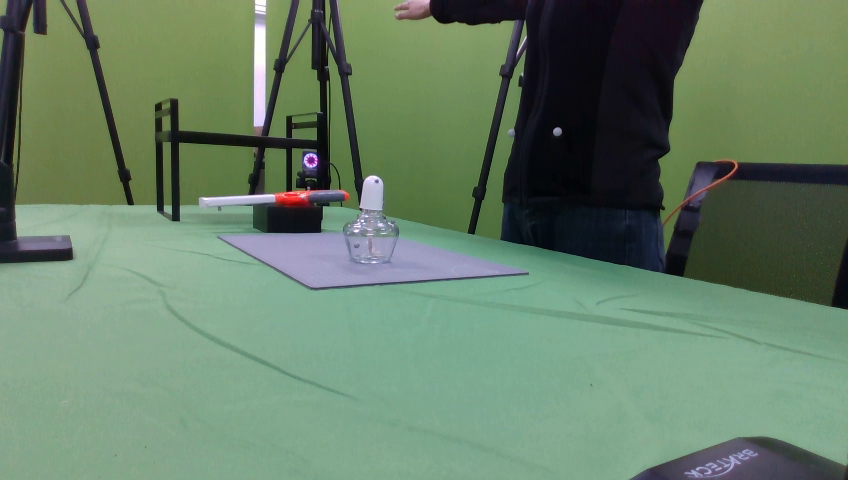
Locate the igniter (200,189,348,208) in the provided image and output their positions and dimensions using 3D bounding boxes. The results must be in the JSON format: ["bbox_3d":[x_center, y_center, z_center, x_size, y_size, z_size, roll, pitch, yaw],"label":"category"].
[{"bbox_3d":[-0.275,-0.079,1.142,0.278,0.025,0.057,-6,11,-32],"label":"igniter"}]

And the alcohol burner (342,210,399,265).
[{"bbox_3d":[-0.073,-0.027,0.818,0.078,0.119,0.078,1,6,0],"label":"alcohol burner"}]

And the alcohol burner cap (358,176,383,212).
[{"bbox_3d":[-0.070,-0.063,0.814,0.034,0.048,0.034,9,9,-1],"label":"alcohol burner cap"}]
